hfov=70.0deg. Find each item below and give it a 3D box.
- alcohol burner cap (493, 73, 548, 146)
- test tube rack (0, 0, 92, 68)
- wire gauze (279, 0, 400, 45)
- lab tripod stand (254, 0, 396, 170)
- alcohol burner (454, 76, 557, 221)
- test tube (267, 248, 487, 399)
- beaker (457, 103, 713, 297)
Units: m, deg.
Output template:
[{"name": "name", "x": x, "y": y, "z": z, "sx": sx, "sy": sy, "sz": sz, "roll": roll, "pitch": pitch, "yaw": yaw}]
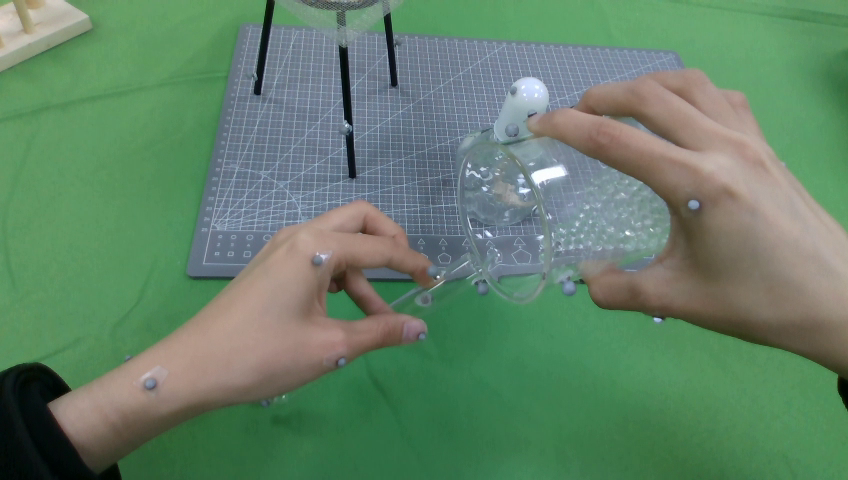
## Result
[{"name": "alcohol burner cap", "x": 0.067, "y": -0.090, "z": 0.410, "sx": 0.034, "sy": 0.048, "sz": 0.033, "roll": 4, "pitch": 57, "yaw": -5}, {"name": "test tube rack", "x": -0.398, "y": -0.168, "z": 0.469, "sx": 0.066, "sy": 0.086, "sz": 0.242, "roll": 33, "pitch": 55, "yaw": 16}, {"name": "wire gauze", "x": -0.063, "y": -0.190, "z": 0.415, "sx": 0.124, "sy": 0.011, "sz": 0.121, "roll": 34, "pitch": 56, "yaw": 15}, {"name": "lab tripod stand", "x": -0.069, "y": -0.150, "z": 0.469, "sx": 0.149, "sy": 0.132, "sz": 0.147, "roll": 5, "pitch": 53, "yaw": -6}, {"name": "alcohol burner", "x": 0.063, "y": -0.070, "z": 0.439, "sx": 0.078, "sy": 0.120, "sz": 0.077, "roll": 5, "pitch": 51, "yaw": -6}, {"name": "test tube", "x": -0.030, "y": 0.048, "z": 0.328, "sx": 0.150, "sy": 0.017, "sz": 0.017, "roll": -34, "pitch": 53, "yaw": 20}, {"name": "beaker", "x": 0.075, "y": -0.021, "z": 0.288, "sx": 0.100, "sy": 0.084, "sz": 0.073, "roll": -16, "pitch": 68, "yaw": -21}]
